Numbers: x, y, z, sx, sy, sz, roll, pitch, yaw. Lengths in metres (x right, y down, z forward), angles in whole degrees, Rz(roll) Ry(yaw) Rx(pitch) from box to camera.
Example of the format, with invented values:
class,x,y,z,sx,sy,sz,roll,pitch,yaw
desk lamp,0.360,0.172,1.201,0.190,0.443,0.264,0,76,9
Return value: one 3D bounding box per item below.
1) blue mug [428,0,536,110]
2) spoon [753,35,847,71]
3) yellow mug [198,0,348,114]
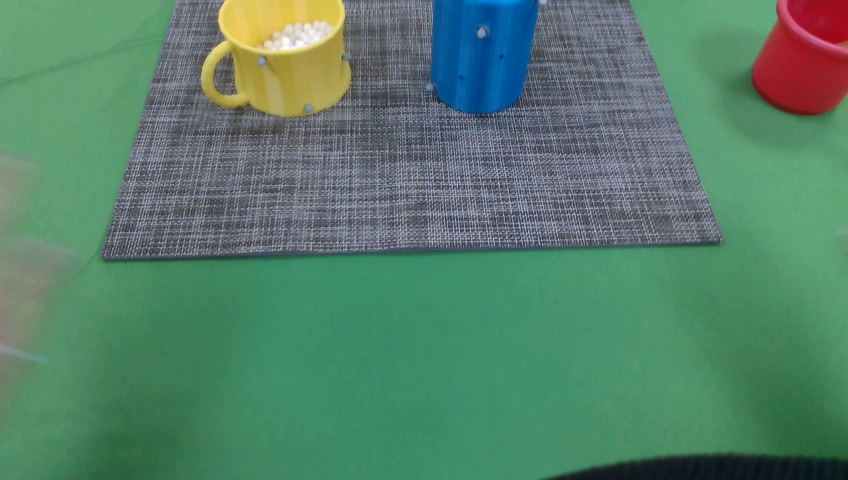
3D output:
class,x,y,z,sx,sy,sz,roll,pitch,yaw
blue mug,0.056,-0.183,0.502,0.082,0.107,0.116,37,62,21
spoon,0.367,-0.166,0.485,0.041,0.192,0.022,-44,112,-30
yellow mug,-0.127,-0.155,0.499,0.131,0.064,0.099,-38,65,-23
